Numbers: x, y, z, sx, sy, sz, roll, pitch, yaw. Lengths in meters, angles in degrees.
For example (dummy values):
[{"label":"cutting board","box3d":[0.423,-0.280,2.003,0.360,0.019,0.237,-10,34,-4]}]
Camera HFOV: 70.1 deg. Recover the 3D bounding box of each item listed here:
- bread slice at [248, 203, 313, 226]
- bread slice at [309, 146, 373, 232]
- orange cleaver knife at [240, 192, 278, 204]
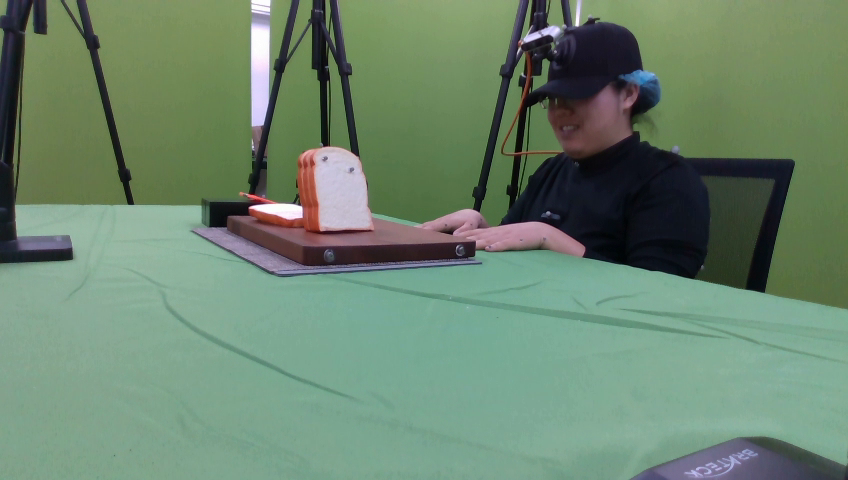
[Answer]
[{"label":"bread slice","box3d":[-0.228,-0.043,1.022,0.131,0.019,0.105,14,14,37]},{"label":"bread slice","box3d":[-0.133,-0.077,0.928,0.018,0.134,0.107,-13,-4,43]},{"label":"orange cleaver knife","box3d":[-0.268,-0.064,1.235,0.212,0.012,0.077,17,-2,-26]}]
